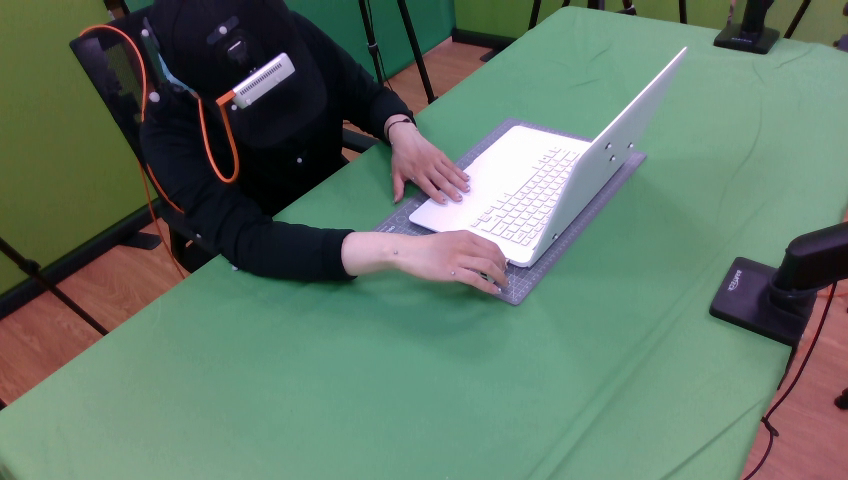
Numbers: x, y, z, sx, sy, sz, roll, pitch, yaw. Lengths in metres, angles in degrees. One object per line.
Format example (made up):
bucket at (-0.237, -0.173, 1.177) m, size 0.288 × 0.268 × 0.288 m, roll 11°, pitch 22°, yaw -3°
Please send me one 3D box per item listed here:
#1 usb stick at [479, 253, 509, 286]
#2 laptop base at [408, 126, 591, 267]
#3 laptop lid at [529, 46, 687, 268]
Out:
usb stick at (0.105, 0.039, 0.890) m, size 0.021 × 0.027 × 0.059 m, roll 18°, pitch 42°, yaw 34°
laptop base at (0.168, -0.091, 1.054) m, size 0.233 × 0.023 × 0.355 m, roll 20°, pitch 47°, yaw 33°
laptop lid at (0.277, -0.126, 0.903) m, size 0.013 × 0.242 × 0.358 m, roll 35°, pitch 53°, yaw 17°
